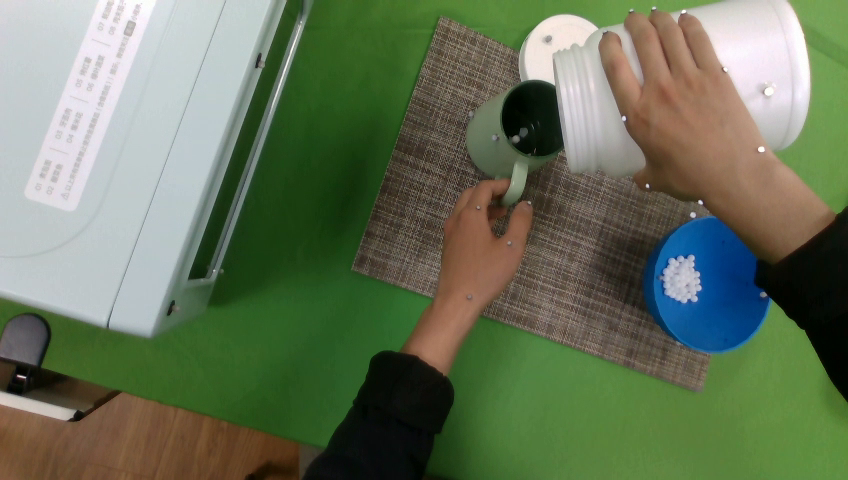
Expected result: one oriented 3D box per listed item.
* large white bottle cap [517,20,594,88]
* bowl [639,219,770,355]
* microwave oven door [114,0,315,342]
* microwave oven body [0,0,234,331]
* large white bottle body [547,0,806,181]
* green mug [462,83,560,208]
[{"bbox_3d":[0.164,-0.198,0.703,0.115,0.018,0.114,2,83,-14],"label":"large white bottle cap"},{"bbox_3d":[0.305,0.053,0.697,0.152,0.076,0.151,1,87,-13],"label":"bowl"},{"bbox_3d":[-0.153,-0.101,0.496,0.039,0.243,0.355,18,83,-11],"label":"microwave oven door"},{"bbox_3d":[-0.277,-0.188,0.475,0.327,0.259,0.440,19,84,-12],"label":"microwave oven body"},{"bbox_3d":[0.207,-0.124,0.526,0.184,0.131,0.130,-9,89,11],"label":"large white bottle body"},{"bbox_3d":[0.092,-0.095,0.639,0.093,0.105,0.125,12,84,-13],"label":"green mug"}]
